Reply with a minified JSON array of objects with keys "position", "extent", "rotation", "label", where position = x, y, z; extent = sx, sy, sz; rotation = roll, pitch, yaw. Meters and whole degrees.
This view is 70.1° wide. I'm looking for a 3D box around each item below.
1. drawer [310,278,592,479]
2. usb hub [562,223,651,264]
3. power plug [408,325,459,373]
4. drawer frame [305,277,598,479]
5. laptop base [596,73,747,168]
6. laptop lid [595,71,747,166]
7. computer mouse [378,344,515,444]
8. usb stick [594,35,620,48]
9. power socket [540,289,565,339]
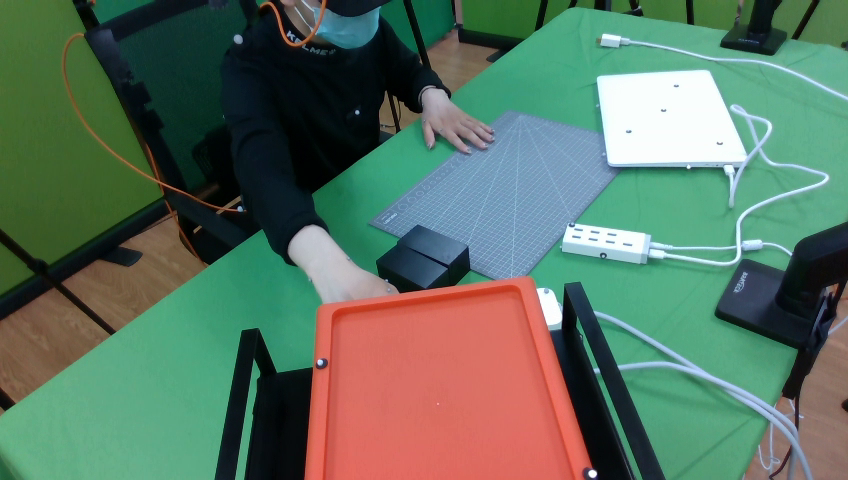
[{"position":[0.013,0.137,0.489],"extent":[0.195,0.073,0.210],"rotation":[-7,41,0],"label":"drawer"},{"position":[0.279,0.005,0.925],"extent":[0.124,0.025,0.049],"rotation":[10,43,19],"label":"usb hub"},{"position":[0.011,0.142,0.780],"extent":[0.035,0.073,0.052],"rotation":[-38,24,35],"label":"power plug"},{"position":[0.014,0.137,0.486],"extent":[0.202,0.083,0.212],"rotation":[-8,41,-1],"label":"drawer frame"},{"position":[0.469,-0.238,1.189],"extent":[0.235,0.023,0.353],"rotation":[-1,40,11],"label":"laptop base"},{"position":[0.466,-0.247,1.181],"extent":[0.241,0.013,0.355],"rotation":[1,41,12],"label":"laptop lid"},{"position":[0.018,0.126,0.520],"extent":[0.116,0.041,0.063],"rotation":[13,47,29],"label":"computer mouse"},{"position":[0.443,-0.482,1.466],"extent":[0.059,0.021,0.027],"rotation":[9,43,10],"label":"usb stick"},{"position":[0.081,0.112,0.822],"extent":[0.227,0.033,0.072],"rotation":[-7,41,-1],"label":"power socket"}]
